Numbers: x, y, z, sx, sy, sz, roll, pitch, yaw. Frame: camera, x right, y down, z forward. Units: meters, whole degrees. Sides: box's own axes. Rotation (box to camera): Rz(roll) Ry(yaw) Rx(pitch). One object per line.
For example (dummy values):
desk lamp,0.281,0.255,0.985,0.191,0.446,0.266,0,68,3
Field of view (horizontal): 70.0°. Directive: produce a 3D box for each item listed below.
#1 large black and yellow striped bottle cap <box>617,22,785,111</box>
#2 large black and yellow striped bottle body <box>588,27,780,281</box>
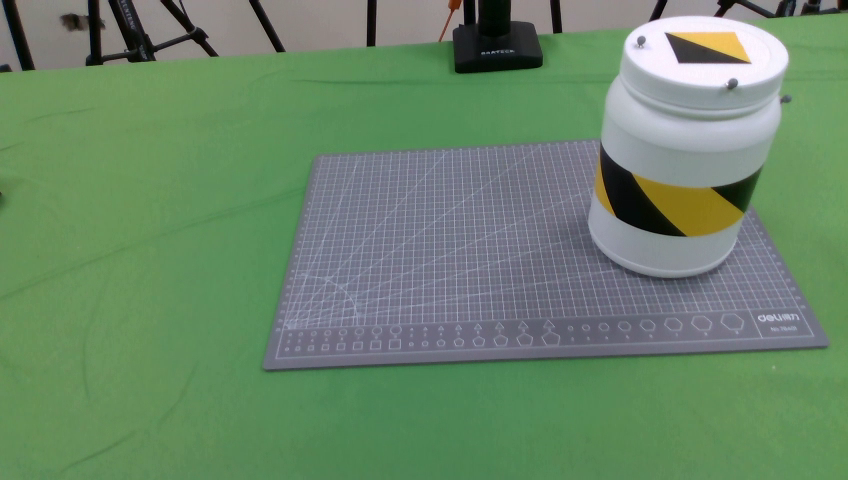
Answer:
large black and yellow striped bottle cap,0.205,-0.132,0.452,0.115,0.019,0.114,-2,43,2
large black and yellow striped bottle body,0.213,-0.071,0.509,0.131,0.186,0.129,-3,43,3
